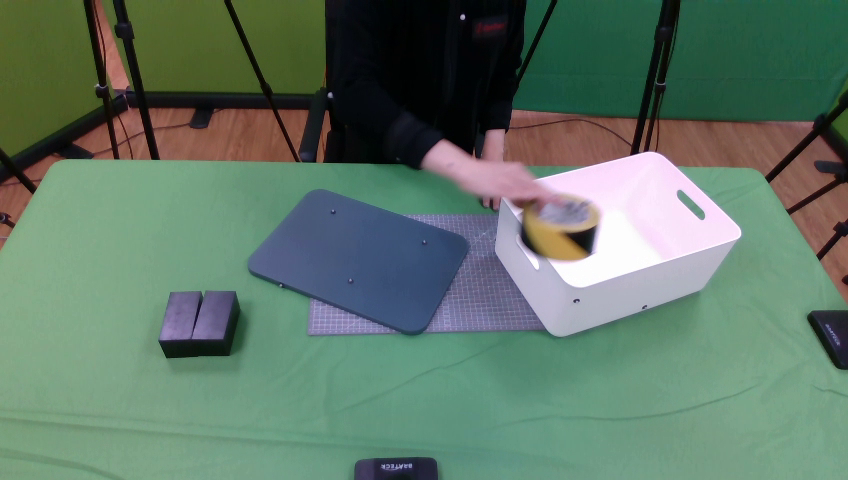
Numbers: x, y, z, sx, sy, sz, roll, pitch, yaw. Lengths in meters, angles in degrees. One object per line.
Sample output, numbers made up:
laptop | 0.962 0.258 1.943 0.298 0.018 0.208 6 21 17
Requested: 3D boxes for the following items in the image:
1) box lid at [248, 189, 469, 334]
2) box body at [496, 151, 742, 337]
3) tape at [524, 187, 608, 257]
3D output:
box lid | -0.123 0.028 1.168 0.371 0.015 0.262 19 47 14
box body | 0.340 0.003 1.118 0.364 0.161 0.252 -15 49 -18
tape | 0.198 -0.027 0.850 0.117 0.053 0.116 0 33 0
